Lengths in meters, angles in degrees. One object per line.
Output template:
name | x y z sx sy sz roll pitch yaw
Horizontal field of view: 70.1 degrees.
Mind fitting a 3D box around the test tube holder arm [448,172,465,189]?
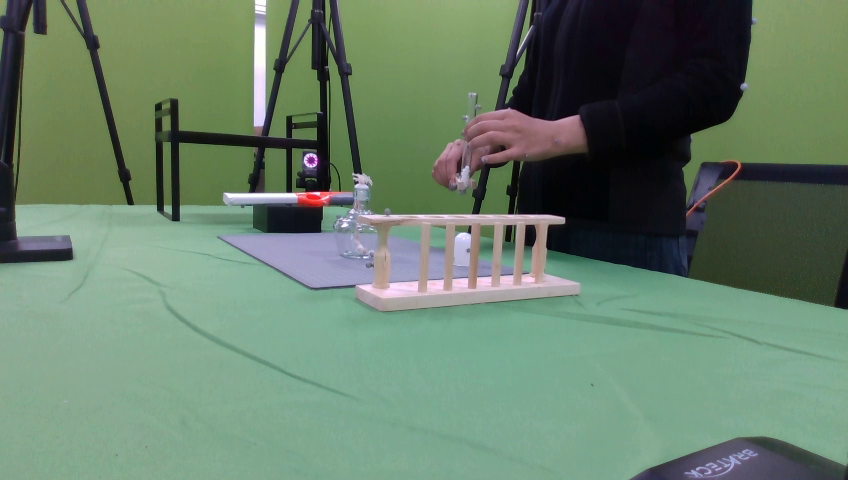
test tube holder arm | 0.054 -0.102 1.021 0.013 0.015 0.178 6 11 -6

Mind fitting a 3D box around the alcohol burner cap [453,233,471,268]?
alcohol burner cap | 0.053 0.014 0.823 0.034 0.048 0.034 3 6 0

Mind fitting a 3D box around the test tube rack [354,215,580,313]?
test tube rack | 0.053 0.019 0.635 0.243 0.085 0.066 -1 8 -29

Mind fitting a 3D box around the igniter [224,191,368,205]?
igniter | -0.237 -0.079 1.157 0.278 0.025 0.057 -2 21 -32

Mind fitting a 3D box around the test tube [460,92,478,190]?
test tube | 0.069 -0.153 0.937 0.017 0.150 0.017 5 14 -1

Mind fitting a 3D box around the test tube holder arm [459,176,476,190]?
test tube holder arm | 0.066 -0.093 0.979 0.010 0.015 0.087 4 11 -15

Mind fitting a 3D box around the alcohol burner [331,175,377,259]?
alcohol burner | -0.091 -0.033 0.855 0.078 0.119 0.078 4 7 0
